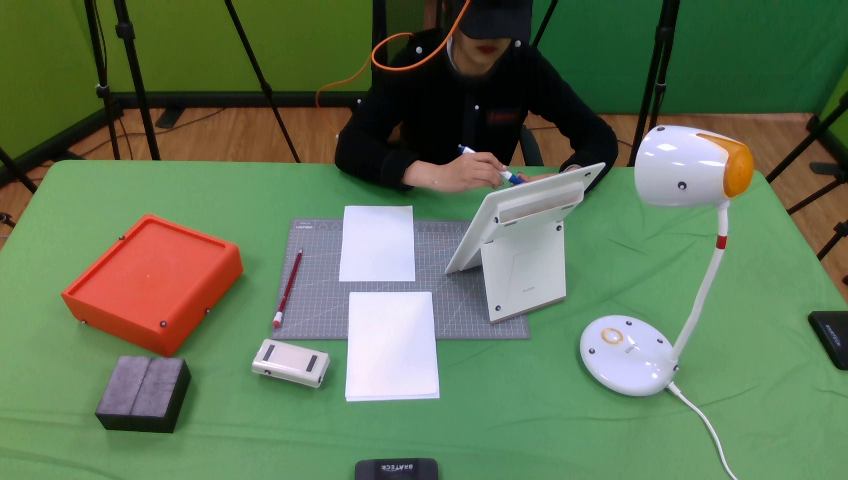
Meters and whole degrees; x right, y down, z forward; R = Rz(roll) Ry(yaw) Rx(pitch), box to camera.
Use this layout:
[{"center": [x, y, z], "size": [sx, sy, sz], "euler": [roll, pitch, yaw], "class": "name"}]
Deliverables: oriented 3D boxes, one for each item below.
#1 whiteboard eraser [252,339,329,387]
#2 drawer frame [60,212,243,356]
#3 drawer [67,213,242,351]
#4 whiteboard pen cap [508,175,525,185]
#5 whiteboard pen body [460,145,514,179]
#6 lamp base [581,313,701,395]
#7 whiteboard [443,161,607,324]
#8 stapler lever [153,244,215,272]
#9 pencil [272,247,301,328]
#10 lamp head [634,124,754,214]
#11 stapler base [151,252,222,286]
[{"center": [-0.215, 0.199, 0.976], "size": [0.112, 0.042, 0.055], "euler": [12, 45, 7], "class": "whiteboard eraser"}, {"center": [-0.462, 0.070, 1.053], "size": [0.201, 0.083, 0.213], "euler": [18, 48, 12], "class": "drawer frame"}, {"center": [-0.461, 0.068, 1.056], "size": [0.194, 0.073, 0.211], "euler": [19, 48, 13], "class": "drawer"}, {"center": [0.184, -0.117, 1.208], "size": [0.033, 0.018, 0.018], "euler": [35, 53, 12], "class": "whiteboard pen cap"}, {"center": [0.135, -0.150, 1.210], "size": [0.141, 0.017, 0.017], "euler": [30, 48, -3], "class": "whiteboard pen body"}, {"center": [0.361, 0.144, 0.973], "size": [0.178, 0.181, 0.160], "euler": [34, 53, 23], "class": "lamp base"}, {"center": [0.185, 0.026, 1.028], "size": [0.217, 0.306, 0.143], "euler": [-15, 68, -18], "class": "whiteboard"}, {"center": [-0.430, 0.025, 1.088], "size": [0.118, 0.040, 0.027], "euler": [16, 33, 13], "class": "stapler lever"}, {"center": [-0.248, 0.081, 1.104], "size": [0.012, 0.012, 0.193], "euler": [6, 45, 1], "class": "pencil"}, {"center": [0.351, -0.089, 0.775], "size": [0.112, 0.113, 0.122], "euler": [-30, 30, -28], "class": "lamp head"}, {"center": [-0.432, 0.047, 1.103], "size": [0.130, 0.024, 0.041], "euler": [16, 33, 12], "class": "stapler base"}]
